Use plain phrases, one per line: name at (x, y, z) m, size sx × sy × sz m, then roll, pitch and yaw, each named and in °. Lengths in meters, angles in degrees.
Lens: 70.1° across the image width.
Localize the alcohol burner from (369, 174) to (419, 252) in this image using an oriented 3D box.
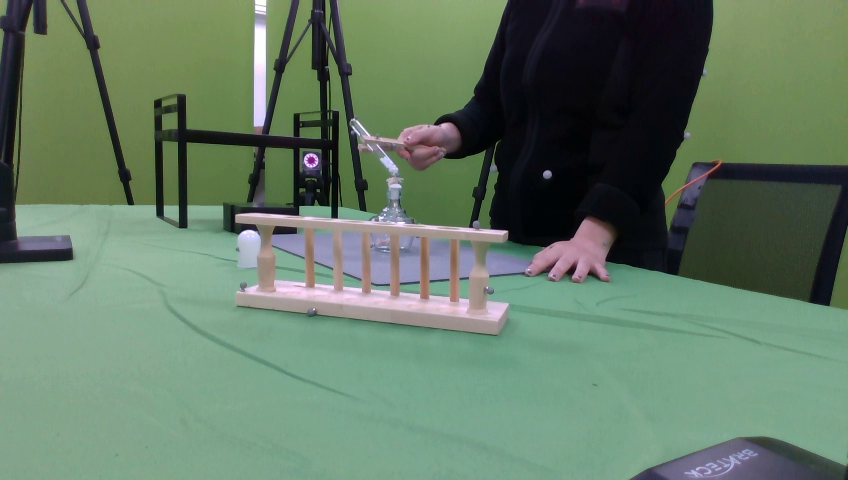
alcohol burner at (-0.047, -0.041, 0.922) m, size 0.078 × 0.119 × 0.078 m, roll 2°, pitch 9°, yaw 0°

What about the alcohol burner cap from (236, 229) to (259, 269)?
alcohol burner cap at (-0.221, 0.010, 0.759) m, size 0.034 × 0.048 × 0.034 m, roll -1°, pitch 11°, yaw 0°

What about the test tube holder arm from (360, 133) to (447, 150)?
test tube holder arm at (-0.030, -0.161, 0.998) m, size 0.179 × 0.013 × 0.015 m, roll -3°, pitch 44°, yaw -41°

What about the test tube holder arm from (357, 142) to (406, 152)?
test tube holder arm at (-0.067, -0.153, 0.973) m, size 0.088 × 0.010 × 0.015 m, roll -12°, pitch 48°, yaw -34°

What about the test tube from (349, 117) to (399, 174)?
test tube at (-0.079, -0.150, 0.951) m, size 0.017 × 0.017 × 0.149 m, roll -4°, pitch 42°, yaw -39°

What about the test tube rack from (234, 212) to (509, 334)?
test tube rack at (-0.047, 0.023, 0.547) m, size 0.242 × 0.085 × 0.067 m, roll 4°, pitch 7°, yaw 15°
